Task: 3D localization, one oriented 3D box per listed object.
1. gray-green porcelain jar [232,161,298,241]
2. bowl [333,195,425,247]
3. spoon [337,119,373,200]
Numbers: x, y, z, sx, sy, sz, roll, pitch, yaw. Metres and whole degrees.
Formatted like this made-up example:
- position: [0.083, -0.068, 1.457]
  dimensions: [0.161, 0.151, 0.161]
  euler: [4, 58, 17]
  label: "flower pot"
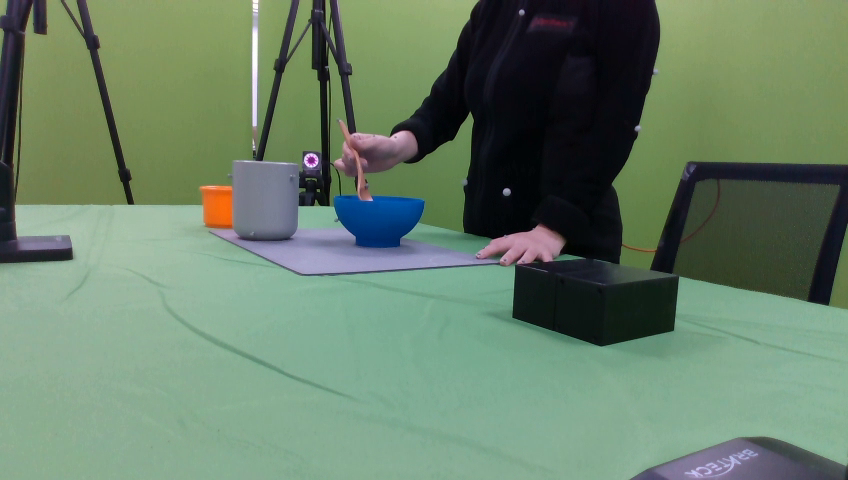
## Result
- position: [-0.263, -0.065, 0.999]
  dimensions: [0.106, 0.126, 0.106]
  euler: [3, 7, 0]
  label: "gray-green porcelain jar"
- position: [-0.074, -0.031, 0.987]
  dimensions: [0.151, 0.077, 0.151]
  euler: [2, 7, 0]
  label: "bowl"
- position: [-0.114, -0.128, 1.024]
  dimensions: [0.021, 0.193, 0.042]
  euler: [-29, -23, 28]
  label: "spoon"
